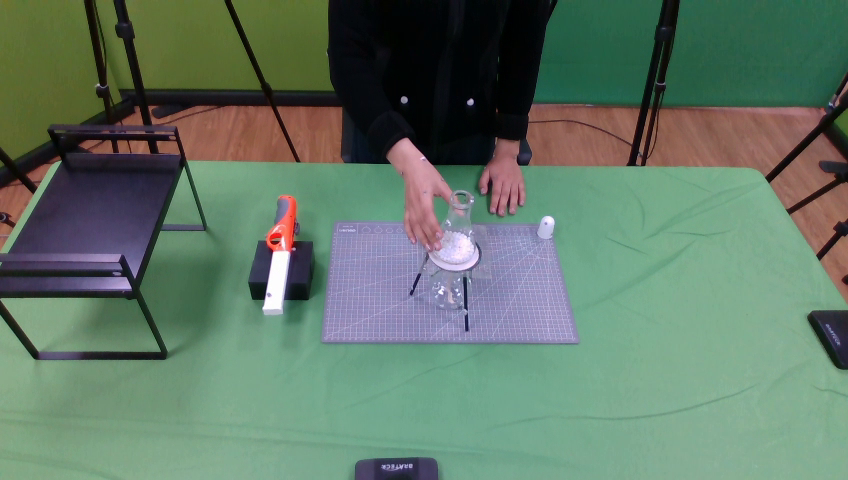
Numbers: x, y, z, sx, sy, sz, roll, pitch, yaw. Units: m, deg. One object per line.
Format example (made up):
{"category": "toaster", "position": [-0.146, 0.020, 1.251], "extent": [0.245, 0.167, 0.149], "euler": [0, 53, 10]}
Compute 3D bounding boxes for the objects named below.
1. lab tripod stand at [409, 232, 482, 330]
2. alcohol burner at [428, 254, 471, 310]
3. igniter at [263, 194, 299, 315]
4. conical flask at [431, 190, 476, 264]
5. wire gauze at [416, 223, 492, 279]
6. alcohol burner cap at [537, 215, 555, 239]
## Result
{"category": "lab tripod stand", "position": [0.051, 0.064, 1.060], "extent": [0.148, 0.132, 0.147], "euler": [4, 46, -4]}
{"category": "alcohol burner", "position": [0.047, 0.068, 1.070], "extent": [0.078, 0.119, 0.077], "euler": [3, 45, -3]}
{"category": "igniter", "position": [-0.259, 0.016, 1.093], "extent": [0.057, 0.025, 0.274], "euler": [-3, 49, -2]}
{"category": "conical flask", "position": [0.053, -0.025, 0.971], "extent": [0.075, 0.122, 0.075], "euler": [3, 48, -3]}
{"category": "wire gauze", "position": [0.048, 0.016, 1.014], "extent": [0.125, 0.011, 0.120], "euler": [1, 45, -1]}
{"category": "alcohol burner cap", "position": [0.249, -0.029, 1.228], "extent": [0.034, 0.048, 0.033], "euler": [1, 48, -1]}
